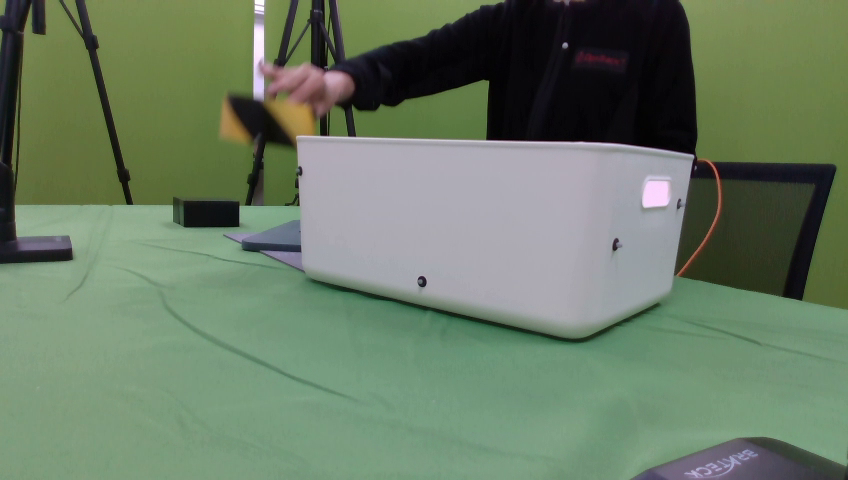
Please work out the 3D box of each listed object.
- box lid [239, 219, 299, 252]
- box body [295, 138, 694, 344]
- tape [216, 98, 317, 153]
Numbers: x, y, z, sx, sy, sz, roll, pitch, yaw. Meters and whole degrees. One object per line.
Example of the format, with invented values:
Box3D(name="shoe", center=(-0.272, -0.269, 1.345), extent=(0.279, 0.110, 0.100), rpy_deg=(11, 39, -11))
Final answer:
Box3D(name="box lid", center=(-0.141, -0.007, 1.057), extent=(0.263, 0.015, 0.371), rpy_deg=(4, 7, 0))
Box3D(name="box body", center=(0.065, -0.020, 0.653), extent=(0.362, 0.160, 0.255), rpy_deg=(9, 9, 36))
Box3D(name="tape", center=(-0.193, -0.139, 0.740), extent=(0.117, 0.052, 0.117), rpy_deg=(8, 7, -1))
